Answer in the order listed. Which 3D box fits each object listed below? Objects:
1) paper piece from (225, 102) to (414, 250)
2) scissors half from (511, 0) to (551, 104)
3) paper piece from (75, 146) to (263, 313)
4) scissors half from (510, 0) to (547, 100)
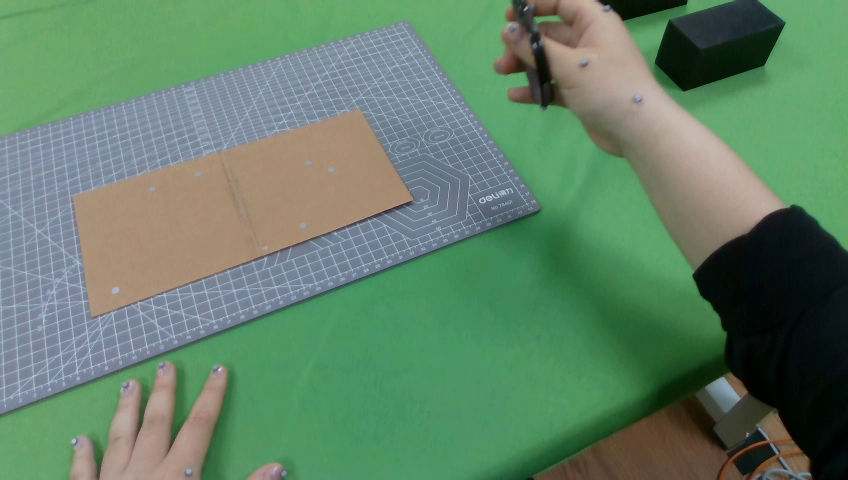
[{"bbox_3d":[-0.097,-0.064,0.541,0.135,0.004,0.134,-21,56,-12],"label":"paper piece"},{"bbox_3d":[0.059,-0.178,0.404,0.013,0.040,0.175,-17,98,5],"label":"scissors half"},{"bbox_3d":[-0.219,-0.017,0.513,0.138,0.009,0.134,-21,53,-12],"label":"paper piece"},{"bbox_3d":[0.060,-0.184,0.422,0.013,0.176,0.040,-15,23,10],"label":"scissors half"}]
